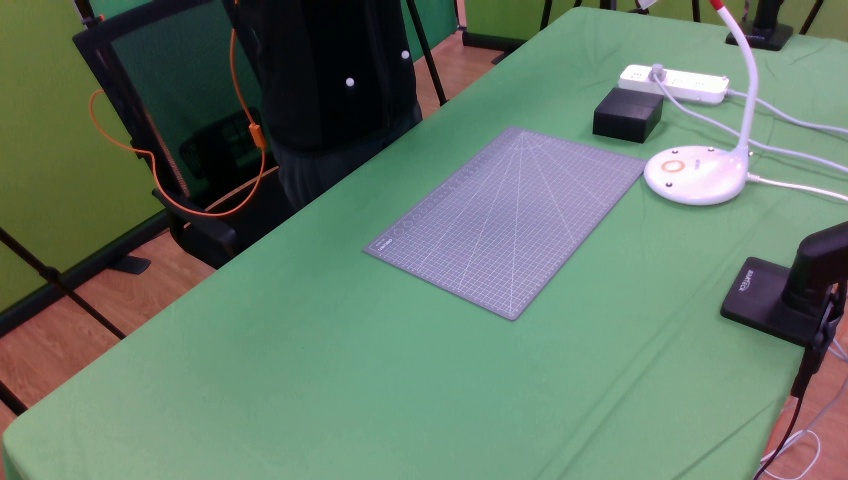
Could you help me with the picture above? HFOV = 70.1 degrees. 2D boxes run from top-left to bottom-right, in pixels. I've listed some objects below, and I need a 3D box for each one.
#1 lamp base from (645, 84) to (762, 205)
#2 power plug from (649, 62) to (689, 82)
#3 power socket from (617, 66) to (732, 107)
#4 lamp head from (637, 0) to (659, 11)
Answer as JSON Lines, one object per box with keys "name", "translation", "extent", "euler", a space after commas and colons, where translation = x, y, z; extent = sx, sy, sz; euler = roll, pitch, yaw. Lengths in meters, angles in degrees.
{"name": "lamp base", "translation": [0.461, -0.170, 0.975], "extent": [0.179, 0.181, 0.160], "euler": [3, 41, 11]}
{"name": "power plug", "translation": [0.504, -0.340, 1.248], "extent": [0.072, 0.053, 0.035], "euler": [8, 59, 11]}
{"name": "power socket", "translation": [0.517, -0.322, 1.259], "extent": [0.225, 0.033, 0.072], "euler": [19, 49, 29]}
{"name": "lamp head", "translation": [0.330, -0.391, 0.827], "extent": [0.122, 0.113, 0.112], "euler": [-21, 35, 25]}
